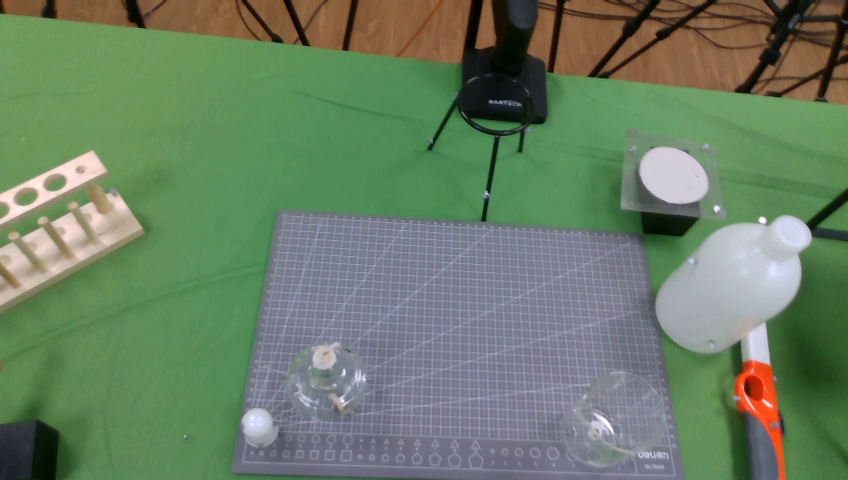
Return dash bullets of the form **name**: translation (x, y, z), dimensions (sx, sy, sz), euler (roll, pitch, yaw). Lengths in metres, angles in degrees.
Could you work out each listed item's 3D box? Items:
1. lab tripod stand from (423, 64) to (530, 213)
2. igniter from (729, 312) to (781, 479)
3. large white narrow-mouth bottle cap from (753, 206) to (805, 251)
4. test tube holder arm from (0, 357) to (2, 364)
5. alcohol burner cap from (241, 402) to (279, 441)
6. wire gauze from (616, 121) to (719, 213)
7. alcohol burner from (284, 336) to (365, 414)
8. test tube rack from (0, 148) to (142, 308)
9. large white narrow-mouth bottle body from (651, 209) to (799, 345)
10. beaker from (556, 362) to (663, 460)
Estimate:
- **lab tripod stand**: translation (0.070, -0.127, 0.726), dimensions (0.148, 0.132, 0.147), euler (3, 62, -6)
- **igniter**: translation (0.363, 0.138, 0.672), dimensions (0.057, 0.025, 0.274), euler (17, 60, -11)
- **large white narrow-mouth bottle cap**: translation (0.325, -0.011, 0.556), dimensions (0.038, 0.024, 0.037), euler (2, 61, -4)
- **test tube holder arm**: translation (-0.398, 0.144, 0.535), dimensions (0.010, 0.015, 0.087), euler (7, 60, -2)
- **alcohol burner cap**: translation (-0.160, 0.173, 0.583), dimensions (0.034, 0.048, 0.033), euler (2, 62, -3)
- **wire gauze**: translation (0.297, -0.090, 0.745), dimensions (0.121, 0.011, 0.124), euler (10, 60, 0)
- **alcohol burner**: translation (-0.095, 0.123, 0.577), dimensions (0.078, 0.120, 0.077), euler (4, 60, -6)
- **test tube rack**: translation (-0.432, 0.008, 0.622), dimensions (0.242, 0.086, 0.066), euler (-34, 70, -22)
- **large white narrow-mouth bottle body**: translation (0.318, 0.032, 0.629), dimensions (0.102, 0.196, 0.101), euler (2, 60, -4)
- **beaker**: translation (0.172, 0.170, 0.588), dimensions (0.084, 0.101, 0.073), euler (1, 60, -5)
